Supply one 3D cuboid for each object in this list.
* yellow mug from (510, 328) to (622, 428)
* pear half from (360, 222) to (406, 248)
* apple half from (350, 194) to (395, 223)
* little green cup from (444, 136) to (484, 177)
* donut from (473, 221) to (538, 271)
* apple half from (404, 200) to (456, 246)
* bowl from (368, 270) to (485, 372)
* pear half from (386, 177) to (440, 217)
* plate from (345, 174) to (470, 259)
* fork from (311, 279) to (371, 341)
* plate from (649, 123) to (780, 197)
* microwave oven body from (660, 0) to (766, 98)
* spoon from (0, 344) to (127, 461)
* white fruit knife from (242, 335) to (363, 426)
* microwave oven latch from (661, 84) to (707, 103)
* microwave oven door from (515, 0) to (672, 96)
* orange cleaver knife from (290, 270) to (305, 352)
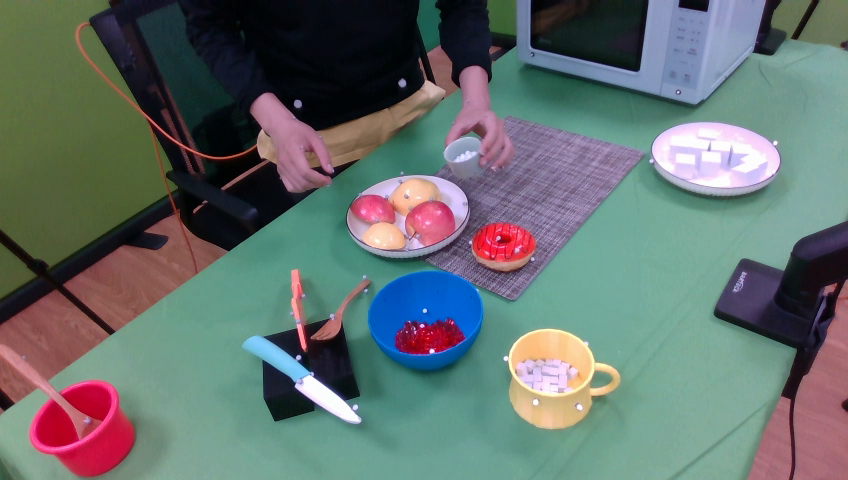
[{"bbox_3d":[0.169,0.164,0.722,0.130,0.064,0.099,0,40,8],"label":"yellow mug"},{"bbox_3d":[-0.064,-0.013,0.959,0.071,0.031,0.087,5,21,-24],"label":"pear half"},{"bbox_3d":[-0.081,-0.057,1.008,0.081,0.033,0.081,12,23,-5],"label":"apple half"},{"bbox_3d":[0.065,-0.130,0.955,0.061,0.039,0.061,-10,47,11],"label":"little green cup"},{"bbox_3d":[0.123,0.008,0.923,0.099,0.048,0.098,-3,38,3],"label":"donut"},{"bbox_3d":[0.009,-0.035,0.969,0.075,0.053,0.080,-27,40,-22],"label":"apple half"},{"bbox_3d":[0.007,0.118,0.791,0.151,0.077,0.150,-5,40,4],"label":"bowl"},{"bbox_3d":[-0.030,-0.079,1.033,0.109,0.056,0.076,-1,35,15],"label":"pear half"},{"bbox_3d":[-0.026,-0.037,1.004,0.209,0.038,0.208,-4,40,4],"label":"plate"},{"bbox_3d":[-0.108,0.092,0.832,0.028,0.019,0.207,-6,19,15],"label":"fork"},{"bbox_3d":[0.497,-0.135,1.046,0.207,0.039,0.206,-4,40,4],"label":"plate"},{"bbox_3d":[0.472,-0.513,1.317,0.438,0.261,0.327,26,51,34],"label":"microwave oven body"},{"bbox_3d":[-0.433,0.191,0.721,0.194,0.021,0.042,47,53,-6],"label":"spoon"},{"bbox_3d":[-0.148,0.167,0.730,0.206,0.016,0.027,26,79,31],"label":"white fruit knife"},{"bbox_3d":[0.517,-0.296,1.204,0.078,0.029,0.030,27,52,34],"label":"microwave oven latch"},{"bbox_3d":[0.343,-0.455,1.259,0.353,0.245,0.039,26,51,33],"label":"microwave oven door"},{"bbox_3d":[-0.175,0.094,0.844,0.012,0.077,0.210,-11,14,-10],"label":"orange cleaver knife"}]
